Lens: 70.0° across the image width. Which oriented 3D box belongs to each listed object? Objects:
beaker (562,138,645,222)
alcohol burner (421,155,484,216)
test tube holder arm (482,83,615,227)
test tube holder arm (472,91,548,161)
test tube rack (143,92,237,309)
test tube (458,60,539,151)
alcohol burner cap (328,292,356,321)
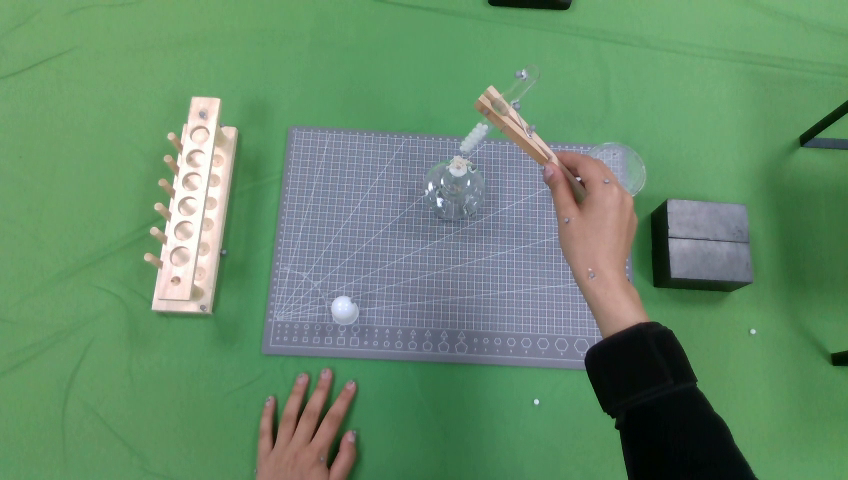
[{"bbox_3d":[0.212,-0.069,0.743,0.084,0.101,0.073,2,73,-1],"label":"beaker"},{"bbox_3d":[0.035,-0.072,0.726,0.078,0.119,0.077,0,74,-1],"label":"alcohol burner"},{"bbox_3d":[0.119,-0.080,0.577,0.178,0.015,0.013,45,66,-3],"label":"test tube holder arm"},{"bbox_3d":[0.083,-0.107,0.572,0.088,0.015,0.010,39,66,-6],"label":"test tube holder arm"},{"bbox_3d":[-0.280,-0.047,0.717,0.067,0.085,0.241,3,74,-2],"label":"test tube rack"},{"bbox_3d":[0.066,-0.123,0.578,0.017,0.150,0.017,7,70,-19],"label":"test tube"},{"bbox_3d":[-0.097,0.076,0.712,0.034,0.048,0.033,1,74,-4],"label":"alcohol burner cap"}]
